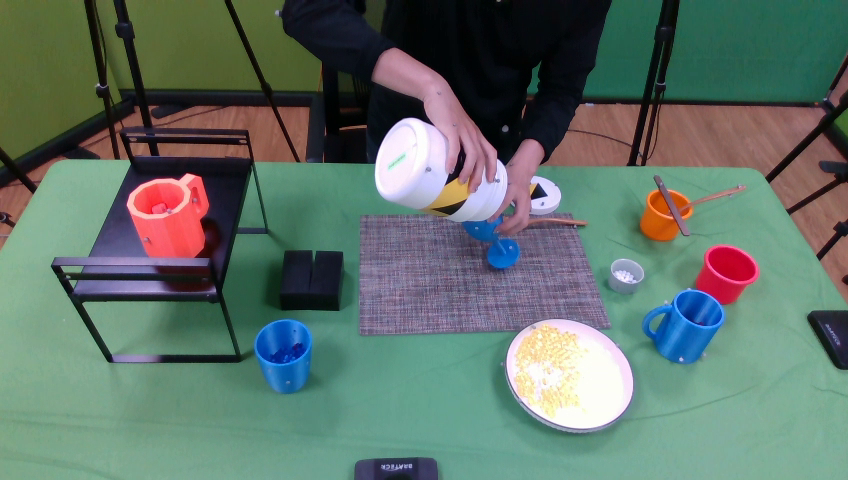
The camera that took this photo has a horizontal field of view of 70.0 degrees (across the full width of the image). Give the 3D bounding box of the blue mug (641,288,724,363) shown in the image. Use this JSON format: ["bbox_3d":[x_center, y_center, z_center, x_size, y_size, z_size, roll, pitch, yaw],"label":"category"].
[{"bbox_3d":[0.432,0.144,1.033,0.116,0.106,0.082,9,46,4],"label":"blue mug"}]

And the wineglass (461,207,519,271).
[{"bbox_3d":[0.118,-0.017,1.091,0.073,0.173,0.073,-13,55,19],"label":"wineglass"}]

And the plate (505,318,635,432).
[{"bbox_3d":[0.235,0.221,0.991,0.209,0.038,0.208,2,45,-2],"label":"plate"}]

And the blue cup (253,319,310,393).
[{"bbox_3d":[-0.217,0.187,0.943,0.093,0.101,0.092,3,45,-3],"label":"blue cup"}]

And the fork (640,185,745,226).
[{"bbox_3d":[0.534,-0.069,1.215,0.207,0.019,0.028,-26,28,33],"label":"fork"}]

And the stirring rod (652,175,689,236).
[{"bbox_3d":[0.491,-0.072,1.211,0.014,0.006,0.175,0,46,-6],"label":"stirring rod"}]

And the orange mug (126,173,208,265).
[{"bbox_3d":[-0.371,-0.039,0.902,0.083,0.101,0.126,18,52,13],"label":"orange mug"}]

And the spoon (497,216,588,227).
[{"bbox_3d":[0.246,-0.039,1.247,0.194,0.022,0.041,-2,25,-6],"label":"spoon"}]

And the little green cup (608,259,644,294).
[{"bbox_3d":[0.379,0.070,1.147,0.061,0.039,0.061,3,46,-3],"label":"little green cup"}]

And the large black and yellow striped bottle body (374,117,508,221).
[{"bbox_3d":[0.029,-0.103,0.950,0.185,0.131,0.130,15,37,-35],"label":"large black and yellow striped bottle body"}]

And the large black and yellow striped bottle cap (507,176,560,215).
[{"bbox_3d":[0.237,-0.098,1.312,0.115,0.019,0.114,2,43,-1],"label":"large black and yellow striped bottle cap"}]
